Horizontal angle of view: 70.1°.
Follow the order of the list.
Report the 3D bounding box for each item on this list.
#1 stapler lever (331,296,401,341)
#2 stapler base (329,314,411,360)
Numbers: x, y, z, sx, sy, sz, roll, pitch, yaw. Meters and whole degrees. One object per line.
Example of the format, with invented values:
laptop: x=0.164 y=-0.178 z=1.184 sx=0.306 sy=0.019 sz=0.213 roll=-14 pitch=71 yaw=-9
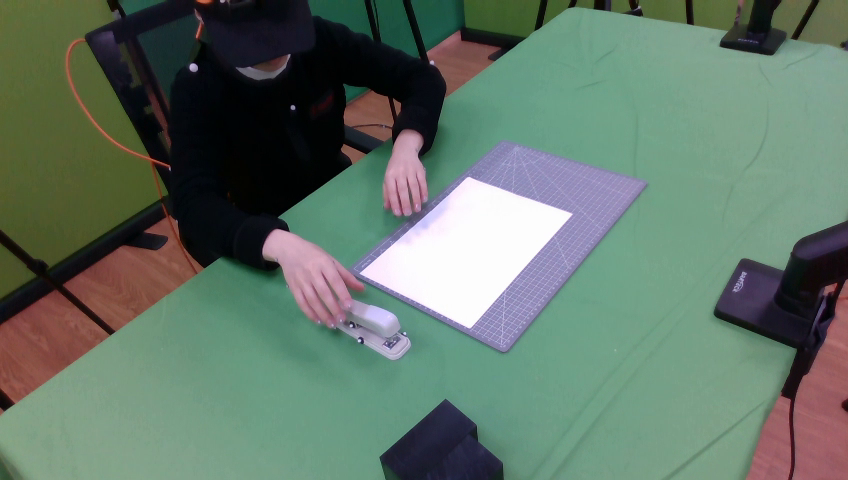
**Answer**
stapler lever: x=-0.081 y=0.102 z=0.825 sx=0.117 sy=0.040 sz=0.027 roll=23 pitch=46 yaw=33
stapler base: x=-0.077 y=0.122 z=0.841 sx=0.129 sy=0.024 sz=0.041 roll=23 pitch=46 yaw=33
